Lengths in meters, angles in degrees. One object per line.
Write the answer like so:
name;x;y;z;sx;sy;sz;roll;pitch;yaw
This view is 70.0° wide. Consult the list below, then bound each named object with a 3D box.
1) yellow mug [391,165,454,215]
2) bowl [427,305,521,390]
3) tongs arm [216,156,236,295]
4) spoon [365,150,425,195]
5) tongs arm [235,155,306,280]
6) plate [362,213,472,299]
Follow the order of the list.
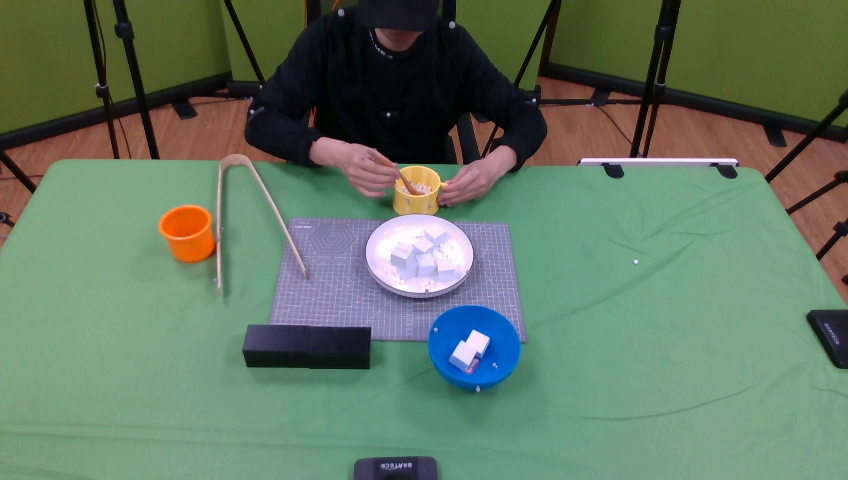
yellow mug;-0.002;-0.099;1.263;0.131;0.064;0.099;2;46;-3
bowl;0.076;0.188;0.985;0.151;0.077;0.150;3;46;-3
tongs arm;-0.389;-0.043;1.201;0.051;0.026;0.382;-8;46;-13
spoon;-0.055;-0.130;1.211;0.041;0.195;0.021;33;85;44
tongs arm;-0.312;-0.057;1.226;0.028;0.028;0.385;-21;50;-20
plate;-0.013;0.034;1.150;0.208;0.039;0.206;2;46;-2
